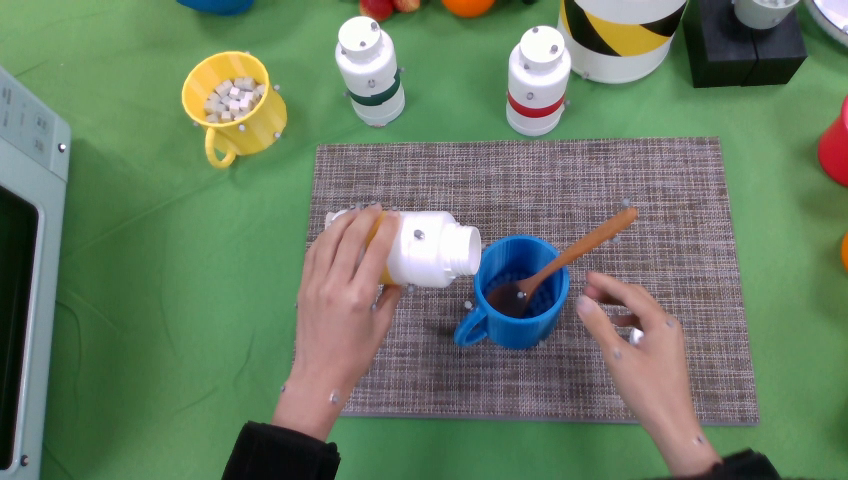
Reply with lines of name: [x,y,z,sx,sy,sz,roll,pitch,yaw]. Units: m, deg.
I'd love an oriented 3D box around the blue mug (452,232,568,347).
blue mug: [0.074,0.059,0.566,0.116,0.106,0.081,-35,69,-8]

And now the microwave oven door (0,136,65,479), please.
microwave oven door: [-0.419,0.054,0.528,0.039,0.245,0.353,-9,69,3]

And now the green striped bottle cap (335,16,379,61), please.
green striped bottle cap: [-0.069,-0.206,0.619,0.044,0.020,0.044,-1,69,4]

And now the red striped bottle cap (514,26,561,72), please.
red striped bottle cap: [0.111,-0.188,0.594,0.044,0.018,0.044,-1,68,2]

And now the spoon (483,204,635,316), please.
spoon: [0.109,0.025,0.529,0.022,0.194,0.041,-2,62,-34]

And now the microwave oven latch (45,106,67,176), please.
microwave oven latch: [-0.435,-0.113,0.700,0.030,0.030,0.078,-7,70,3]

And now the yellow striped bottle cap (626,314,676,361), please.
yellow striped bottle cap: [0.220,0.094,0.587,0.044,0.019,0.044,-2,69,5]

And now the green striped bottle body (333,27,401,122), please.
green striped bottle body: [-0.062,-0.187,0.667,0.063,0.120,0.062,-2,69,5]

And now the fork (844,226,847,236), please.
fork: [0.468,0.020,0.522,0.028,0.019,0.205,-38,26,-7]

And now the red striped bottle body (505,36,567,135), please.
red striped bottle body: [0.118,-0.168,0.642,0.063,0.120,0.062,-3,68,7]

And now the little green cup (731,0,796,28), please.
little green cup: [0.359,-0.258,0.641,0.061,0.039,0.061,-1,67,3]

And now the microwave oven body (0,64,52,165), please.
microwave oven body: [-0.568,0.039,0.553,0.326,0.262,0.438,-9,70,2]

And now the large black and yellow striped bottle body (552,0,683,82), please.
large black and yellow striped bottle body: [0.208,-0.271,0.637,0.130,0.185,0.130,-2,69,5]

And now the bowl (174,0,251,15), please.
bowl: [-0.263,-0.342,0.767,0.151,0.077,0.150,-2,70,5]

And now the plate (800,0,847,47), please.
plate: [0.530,-0.289,0.691,0.209,0.038,0.207,-2,70,5]

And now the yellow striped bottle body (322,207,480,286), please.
yellow striped bottle body: [-0.017,0.005,0.497,0.120,0.063,0.062,2,69,19]

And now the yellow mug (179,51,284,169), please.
yellow mug: [-0.224,-0.144,0.696,0.100,0.064,0.130,9,71,9]
